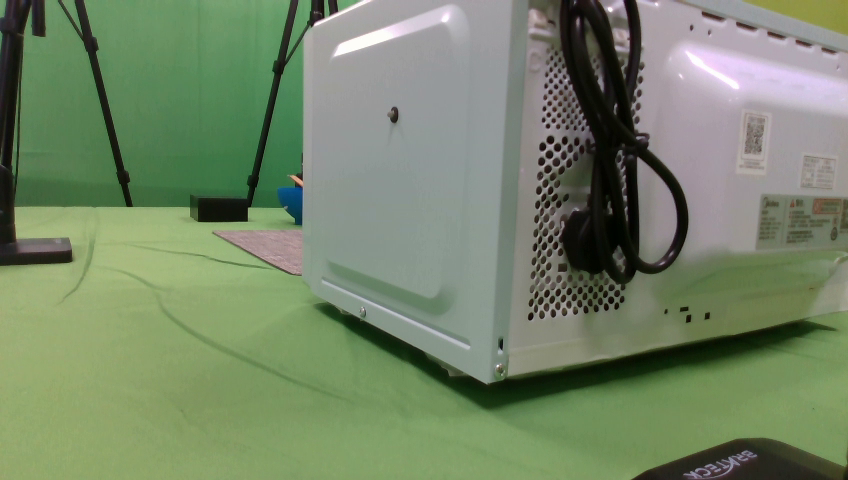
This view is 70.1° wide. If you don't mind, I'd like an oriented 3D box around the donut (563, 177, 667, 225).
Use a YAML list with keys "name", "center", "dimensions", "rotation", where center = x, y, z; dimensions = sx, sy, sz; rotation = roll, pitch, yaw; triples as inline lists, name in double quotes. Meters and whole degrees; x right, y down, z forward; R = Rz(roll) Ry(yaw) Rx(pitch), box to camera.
- name: "donut"
  center: [0.184, -0.037, 0.587]
  dimensions: [0.099, 0.048, 0.099]
  rotation: [-2, 3, 0]

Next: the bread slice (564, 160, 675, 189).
- name: "bread slice"
  center: [0.187, -0.063, 0.578]
  dimensions: [0.104, 0.019, 0.132]
  rotation: [7, 6, 16]

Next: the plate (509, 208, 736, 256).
- name: "plate"
  center: [0.187, -0.010, 0.587]
  dimensions: [0.208, 0.039, 0.207]
  rotation: [-1, 4, 0]

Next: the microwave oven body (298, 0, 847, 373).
- name: "microwave oven body"
  center: [0.151, -0.055, 0.542]
  dimensions: [0.444, 0.260, 0.324]
  rotation: [-1, 7, -33]

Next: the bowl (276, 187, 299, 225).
- name: "bowl"
  center: [-0.241, -0.073, 1.302]
  dimensions: [0.151, 0.077, 0.151]
  rotation: [2, 7, 0]

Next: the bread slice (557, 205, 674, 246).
- name: "bread slice"
  center: [0.185, -0.015, 0.580]
  dimensions: [0.107, 0.018, 0.134]
  rotation: [-6, 8, 10]

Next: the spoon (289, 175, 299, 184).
- name: "spoon"
  center: [-0.260, -0.110, 1.343]
  dimensions: [0.042, 0.021, 0.192]
  rotation: [-8, 33, -30]

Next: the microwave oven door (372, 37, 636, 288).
- name: "microwave oven door"
  center: [0.110, -0.080, 0.686]
  dimensions: [0.358, 0.243, 0.039]
  rotation: [-2, 9, -33]

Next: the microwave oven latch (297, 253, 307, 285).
- name: "microwave oven latch"
  center: [-0.082, 0.027, 0.582]
  dimensions: [0.079, 0.029, 0.030]
  rotation: [-1, 7, -33]
